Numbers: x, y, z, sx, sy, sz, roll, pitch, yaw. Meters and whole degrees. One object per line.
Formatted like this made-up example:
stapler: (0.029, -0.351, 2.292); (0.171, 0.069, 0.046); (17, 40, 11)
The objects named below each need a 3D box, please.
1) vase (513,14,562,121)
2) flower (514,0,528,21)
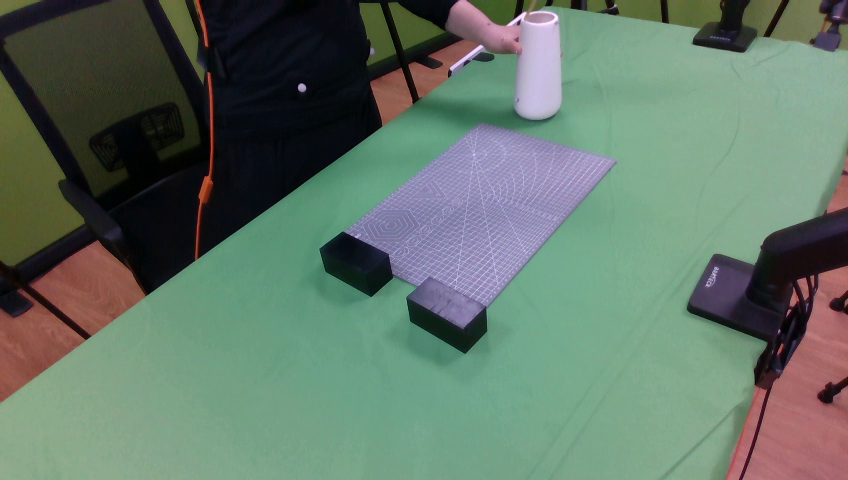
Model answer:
vase: (0.225, -0.336, 1.197); (0.098, 0.201, 0.097); (-5, 42, 5)
flower: (0.230, -0.508, 0.984); (0.044, 0.361, 0.038); (31, 49, -1)
